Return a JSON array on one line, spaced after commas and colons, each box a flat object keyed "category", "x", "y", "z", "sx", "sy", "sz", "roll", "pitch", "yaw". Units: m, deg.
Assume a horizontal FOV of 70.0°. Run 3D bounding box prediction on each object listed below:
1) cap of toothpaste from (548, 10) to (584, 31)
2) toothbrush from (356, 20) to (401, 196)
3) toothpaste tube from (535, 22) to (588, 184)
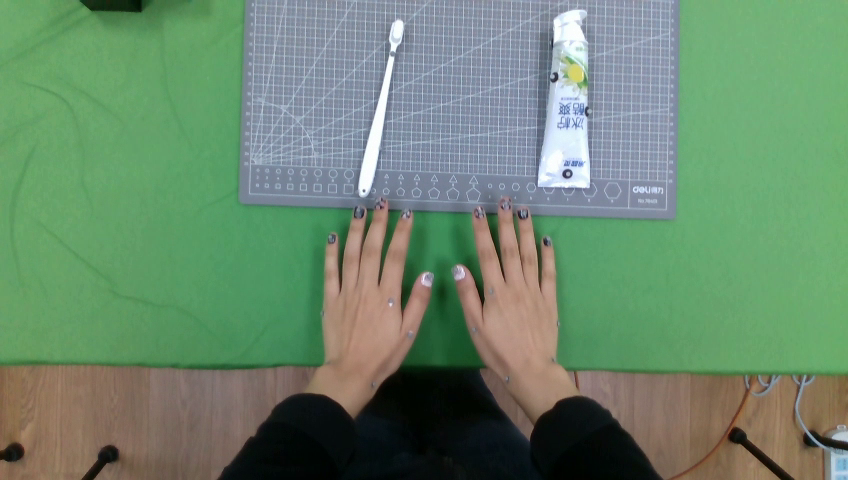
[{"category": "cap of toothpaste", "x": 0.145, "y": -0.222, "z": 0.617, "sx": 0.037, "sy": 0.037, "sz": 0.011, "roll": -11, "pitch": 86, "yaw": -5}, {"category": "toothbrush", "x": -0.046, "y": -0.134, "z": 0.612, "sx": 0.014, "sy": 0.016, "sz": 0.181, "roll": 12, "pitch": 89, "yaw": -17}, {"category": "toothpaste tube", "x": 0.143, "y": -0.140, "z": 0.621, "sx": 0.055, "sy": 0.034, "sz": 0.165, "roll": 1, "pitch": 93, "yaw": 3}]
